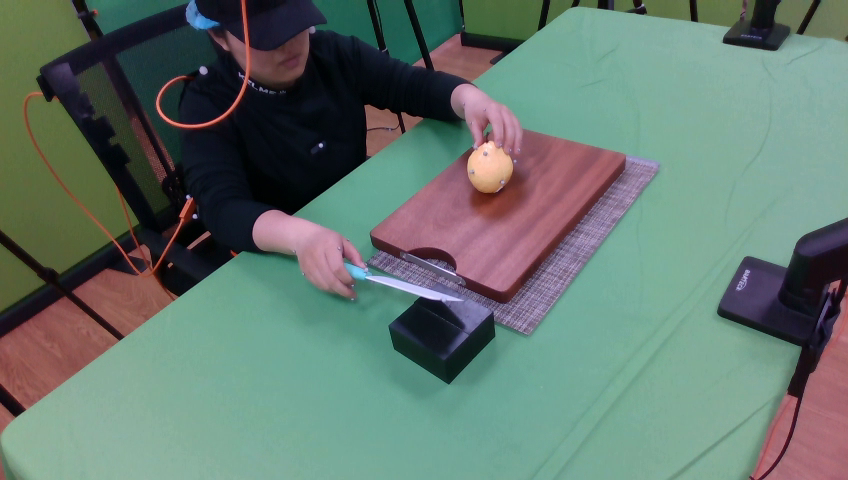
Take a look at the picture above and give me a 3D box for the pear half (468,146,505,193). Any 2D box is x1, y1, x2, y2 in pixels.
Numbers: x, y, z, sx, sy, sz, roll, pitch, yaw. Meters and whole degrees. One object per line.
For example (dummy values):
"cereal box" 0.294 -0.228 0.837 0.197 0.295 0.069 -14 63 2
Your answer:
"pear half" 0.099 -0.113 1.004 0.070 0.088 0.031 21 49 21

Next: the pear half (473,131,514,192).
"pear half" 0.118 -0.141 1.019 0.076 0.110 0.056 19 48 24

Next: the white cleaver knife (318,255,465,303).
"white cleaver knife" -0.058 0.059 0.867 0.066 0.021 0.284 12 1 -44
